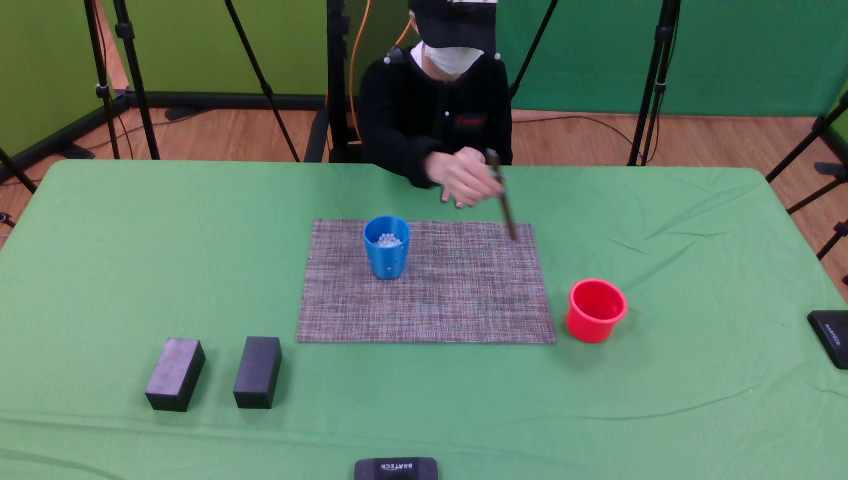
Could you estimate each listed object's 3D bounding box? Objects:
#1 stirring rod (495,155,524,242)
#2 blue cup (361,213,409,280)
[{"bbox_3d":[0.133,-0.061,0.938,0.014,0.177,0.006,-2,43,22],"label":"stirring rod"},{"bbox_3d":[-0.070,0.020,1.113,0.093,0.101,0.092,1,46,-1],"label":"blue cup"}]
